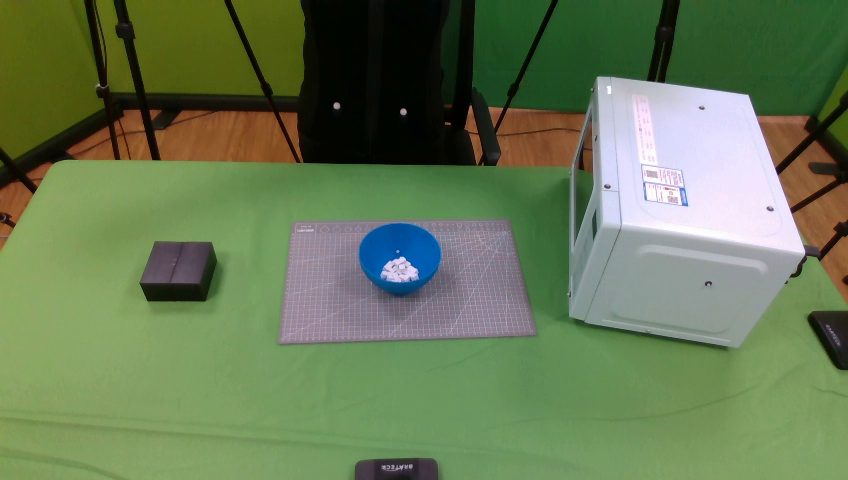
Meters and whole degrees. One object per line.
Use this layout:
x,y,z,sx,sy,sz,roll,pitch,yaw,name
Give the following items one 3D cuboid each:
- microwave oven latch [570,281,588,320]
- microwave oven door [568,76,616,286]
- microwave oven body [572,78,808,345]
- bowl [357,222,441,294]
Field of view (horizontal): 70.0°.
0.275,0.105,1.082,0.030,0.029,0.079,9,45,6,microwave oven latch
0.319,-0.119,1.161,0.039,0.245,0.354,9,46,5,microwave oven door
0.456,-0.063,1.125,0.326,0.261,0.439,8,45,5,microwave oven body
-0.047,0.046,1.107,0.151,0.077,0.150,2,46,-2,bowl
